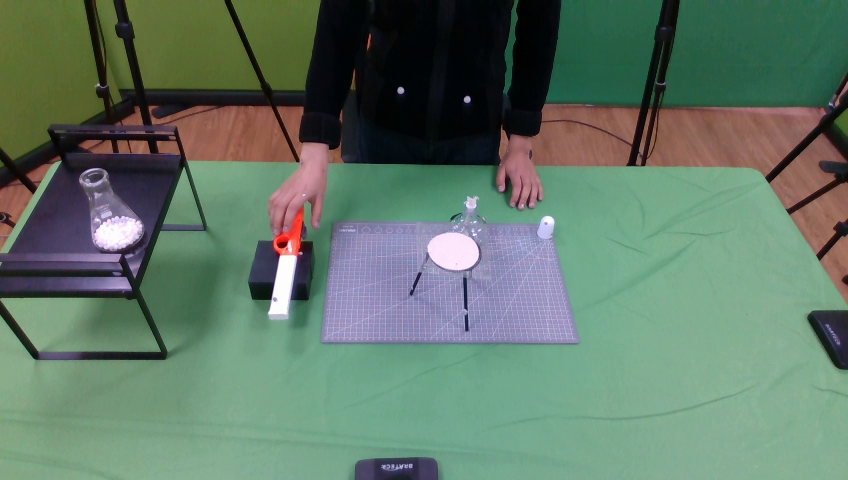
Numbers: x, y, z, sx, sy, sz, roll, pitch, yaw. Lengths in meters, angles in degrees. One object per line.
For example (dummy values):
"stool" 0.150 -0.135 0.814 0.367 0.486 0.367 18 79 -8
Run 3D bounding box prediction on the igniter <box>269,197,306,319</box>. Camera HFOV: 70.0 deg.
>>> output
"igniter" -0.246 0.023 1.087 0.057 0.025 0.274 -1 49 -2

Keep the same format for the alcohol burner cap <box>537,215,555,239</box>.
"alcohol burner cap" 0.249 -0.029 1.228 0.034 0.048 0.033 1 48 -1

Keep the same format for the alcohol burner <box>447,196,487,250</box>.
"alcohol burner" 0.085 -0.039 1.175 0.078 0.119 0.077 3 45 -3

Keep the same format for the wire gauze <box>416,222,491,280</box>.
"wire gauze" 0.048 0.014 1.013 0.125 0.011 0.120 3 47 -3

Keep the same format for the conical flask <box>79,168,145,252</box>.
"conical flask" -0.463 -0.048 0.888 0.075 0.122 0.075 2 46 -2

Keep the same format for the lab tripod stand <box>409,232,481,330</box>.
"lab tripod stand" 0.051 0.064 1.059 0.148 0.132 0.147 3 47 -3
